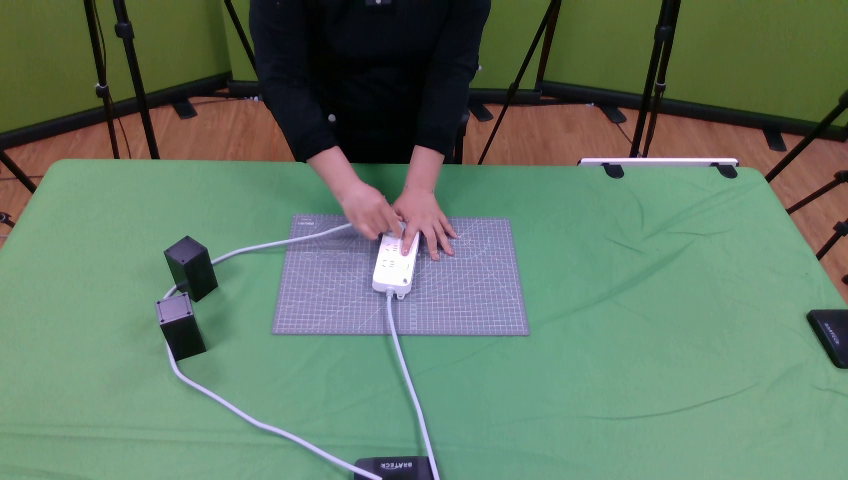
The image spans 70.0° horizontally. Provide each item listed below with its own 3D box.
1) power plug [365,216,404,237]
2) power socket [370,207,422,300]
[{"bbox_3d":[-0.074,-0.025,1.172,0.072,0.053,0.035,13,43,11],"label":"power plug"},{"bbox_3d":[-0.051,0.017,1.165,0.072,0.033,0.225,7,46,3],"label":"power socket"}]
